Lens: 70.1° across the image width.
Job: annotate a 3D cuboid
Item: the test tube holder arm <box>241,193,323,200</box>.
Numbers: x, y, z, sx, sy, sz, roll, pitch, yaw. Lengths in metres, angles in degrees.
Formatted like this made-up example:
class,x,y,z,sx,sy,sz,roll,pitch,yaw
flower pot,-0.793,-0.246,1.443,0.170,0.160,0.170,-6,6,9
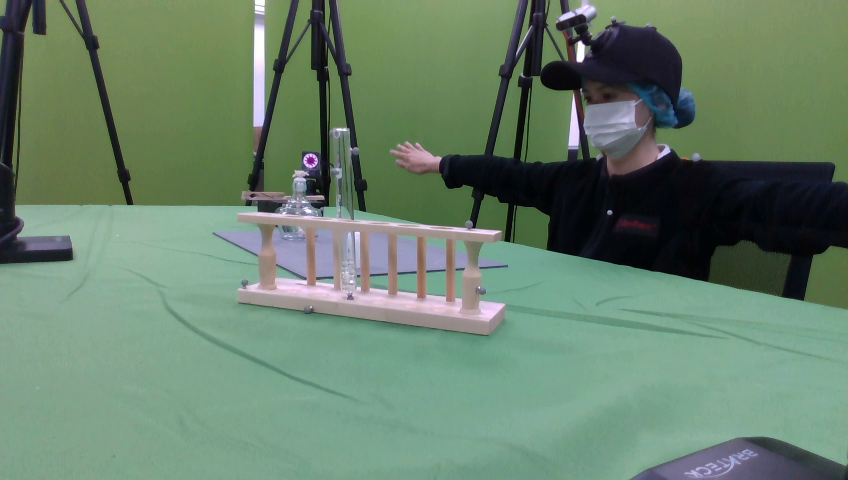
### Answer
class,x,y,z,sx,sy,sz,roll,pitch,yaw
test tube holder arm,-0.290,-0.090,1.253,0.179,0.013,0.015,-4,9,-39

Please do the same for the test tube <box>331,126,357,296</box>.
class,x,y,z,sx,sy,sz,roll,pitch,yaw
test tube,-0.070,-0.025,0.534,0.017,0.150,0.017,-2,8,1

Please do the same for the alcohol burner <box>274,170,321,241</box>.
class,x,y,z,sx,sy,sz,roll,pitch,yaw
alcohol burner,-0.212,-0.058,1.015,0.078,0.119,0.078,4,5,0

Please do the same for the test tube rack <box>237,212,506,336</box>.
class,x,y,z,sx,sy,sz,roll,pitch,yaw
test tube rack,-0.049,0.024,0.552,0.242,0.085,0.067,5,8,19

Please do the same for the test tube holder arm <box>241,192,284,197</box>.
class,x,y,z,sx,sy,sz,roll,pitch,yaw
test tube holder arm,-0.325,-0.093,1.224,0.088,0.010,0.015,-4,9,-39

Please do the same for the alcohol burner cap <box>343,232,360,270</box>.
class,x,y,z,sx,sy,sz,roll,pitch,yaw
alcohol burner cap,-0.087,0.013,0.777,0.034,0.048,0.034,3,7,0
